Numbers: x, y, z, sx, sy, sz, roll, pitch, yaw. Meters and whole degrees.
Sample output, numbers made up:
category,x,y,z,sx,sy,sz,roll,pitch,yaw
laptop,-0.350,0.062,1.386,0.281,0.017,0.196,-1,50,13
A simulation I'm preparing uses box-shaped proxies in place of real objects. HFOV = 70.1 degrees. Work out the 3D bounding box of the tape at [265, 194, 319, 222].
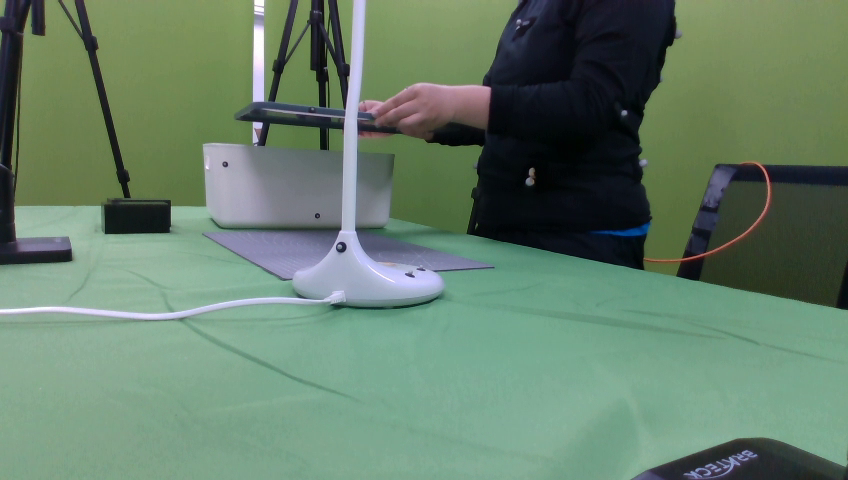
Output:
category,x,y,z,sx,sy,sz,roll,pitch,yaw
tape,-0.284,-0.069,1.298,0.117,0.052,0.117,3,7,0

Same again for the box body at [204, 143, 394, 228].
category,x,y,z,sx,sy,sz,roll,pitch,yaw
box body,-0.271,-0.117,1.292,0.366,0.160,0.253,-1,8,-25

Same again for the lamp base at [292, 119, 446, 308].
category,x,y,z,sx,sy,sz,roll,pitch,yaw
lamp base,-0.056,-0.030,0.616,0.160,0.180,0.179,4,10,8

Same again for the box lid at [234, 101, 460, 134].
category,x,y,z,sx,sy,sz,roll,pitch,yaw
box lid,-0.147,-0.218,1.109,0.373,0.015,0.262,0,6,-25
